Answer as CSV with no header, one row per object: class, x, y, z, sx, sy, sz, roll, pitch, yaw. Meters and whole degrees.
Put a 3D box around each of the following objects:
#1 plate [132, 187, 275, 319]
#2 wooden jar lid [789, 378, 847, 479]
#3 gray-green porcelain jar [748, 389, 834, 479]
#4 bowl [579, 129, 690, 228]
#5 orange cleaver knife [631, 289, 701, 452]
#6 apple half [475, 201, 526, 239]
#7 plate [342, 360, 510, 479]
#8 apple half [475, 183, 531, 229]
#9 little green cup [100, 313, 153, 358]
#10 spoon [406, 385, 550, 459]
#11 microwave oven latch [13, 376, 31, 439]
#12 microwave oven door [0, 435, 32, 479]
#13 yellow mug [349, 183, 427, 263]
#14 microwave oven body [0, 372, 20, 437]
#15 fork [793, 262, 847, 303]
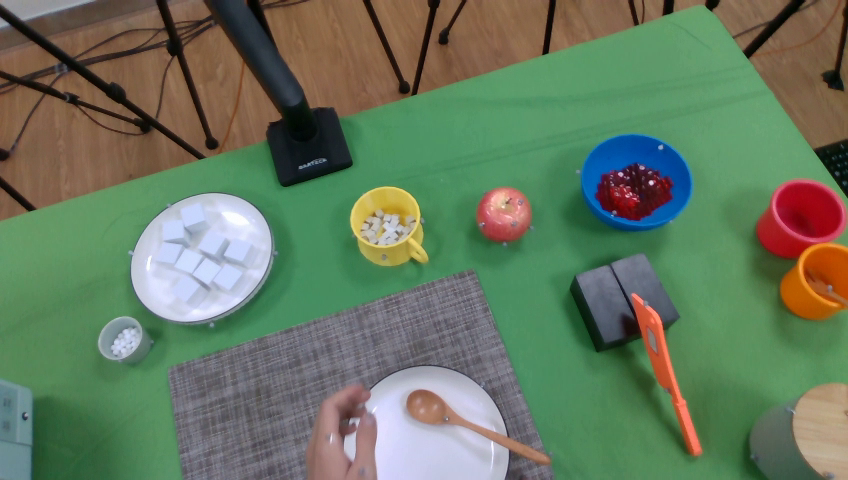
plate,-0.320,0.020,0.896,0.207,0.039,0.206,-1,65,3
wooden jar lid,0.442,0.202,0.642,0.108,0.021,0.107,-1,67,3
gray-green porcelain jar,0.447,0.229,0.698,0.106,0.127,0.105,-1,65,3
bowl,0.295,-0.076,0.875,0.151,0.077,0.150,-1,66,4
orange cleaver knife,0.300,0.162,0.759,0.012,0.077,0.212,-21,98,-1
apple half,0.104,-0.019,0.864,0.081,0.082,0.032,21,65,13
plate,0.002,0.257,0.761,0.209,0.038,0.207,-1,66,3
apple half,0.120,-0.051,0.879,0.080,0.075,0.053,19,65,16
little green cup,-0.414,0.136,0.847,0.061,0.039,0.061,-1,67,3
spoon,0.064,0.230,0.754,0.192,0.022,0.041,18,62,24
microwave oven latch,-0.538,0.222,0.797,0.030,0.030,0.078,-14,66,-3
microwave oven door,-0.492,0.371,0.614,0.039,0.246,0.352,-15,65,-3
yellow mug,-0.043,-0.015,0.878,0.130,0.064,0.100,40,73,18
microwave oven body,-0.643,0.373,0.629,0.326,0.262,0.437,-15,66,-3
fork,0.521,0.076,0.750,0.028,0.019,0.206,-2,22,2
